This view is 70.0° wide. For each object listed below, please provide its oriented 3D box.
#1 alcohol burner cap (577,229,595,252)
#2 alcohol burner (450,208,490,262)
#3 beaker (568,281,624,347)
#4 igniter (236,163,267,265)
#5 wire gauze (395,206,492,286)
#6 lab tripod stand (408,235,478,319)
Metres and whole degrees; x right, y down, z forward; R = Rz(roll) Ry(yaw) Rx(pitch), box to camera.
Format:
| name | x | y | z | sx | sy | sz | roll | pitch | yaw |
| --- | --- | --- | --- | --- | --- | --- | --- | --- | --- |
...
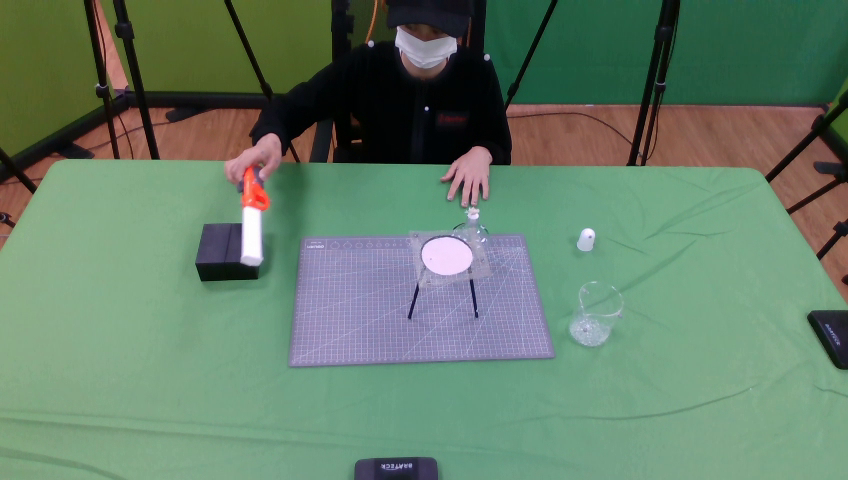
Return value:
| name | x | y | z | sx | sy | sz | roll | pitch | yaw |
| --- | --- | --- | --- | --- | --- | --- | --- | --- | --- |
| alcohol burner cap | 0.326 | -0.002 | 1.213 | 0.034 | 0.048 | 0.033 | 1 | 47 | -1 |
| alcohol burner | 0.088 | -0.015 | 1.153 | 0.078 | 0.120 | 0.077 | 1 | 47 | -1 |
| beaker | 0.290 | 0.132 | 1.041 | 0.084 | 0.101 | 0.073 | -34 | 57 | -31 |
| igniter | -0.305 | -0.055 | 1.070 | 0.057 | 0.025 | 0.274 | 19 | 33 | -29 |
| wire gauze | 0.031 | 0.010 | 0.993 | 0.125 | 0.011 | 0.120 | -25 | 57 | -17 |
| lab tripod stand | 0.032 | 0.065 | 1.057 | 0.148 | 0.132 | 0.147 | 1 | 45 | -1 |
